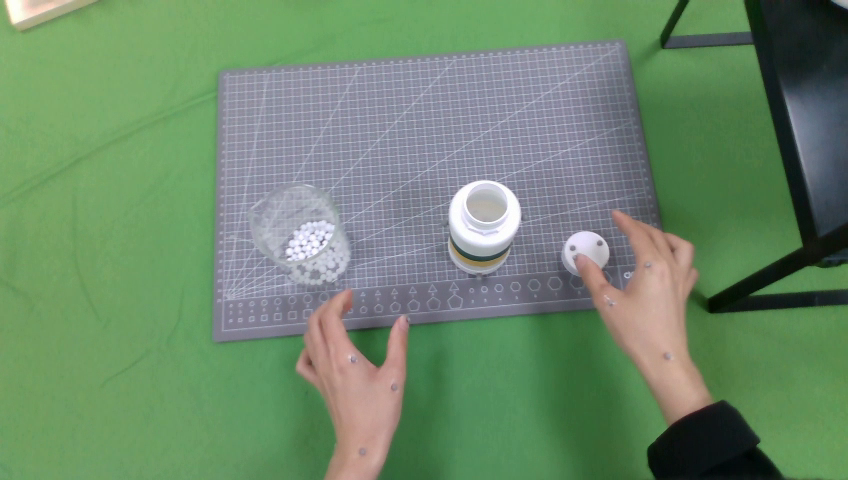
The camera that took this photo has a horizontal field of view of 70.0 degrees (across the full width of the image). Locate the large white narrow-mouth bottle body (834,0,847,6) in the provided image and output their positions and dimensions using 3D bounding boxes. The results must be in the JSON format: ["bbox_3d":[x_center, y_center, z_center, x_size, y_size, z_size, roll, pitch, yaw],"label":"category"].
[{"bbox_3d":[0.344,-0.251,0.395,0.102,0.196,0.101,-1,72,3],"label":"large white narrow-mouth bottle body"}]

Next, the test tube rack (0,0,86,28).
[{"bbox_3d":[-0.374,-0.332,0.672,0.242,0.085,0.066,-25,74,-7],"label":"test tube rack"}]

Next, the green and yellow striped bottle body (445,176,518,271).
[{"bbox_3d":[0.051,-0.016,0.551,0.063,0.120,0.063,0,73,1],"label":"green and yellow striped bottle body"}]

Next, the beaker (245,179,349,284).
[{"bbox_3d":[-0.113,-0.003,0.561,0.084,0.101,0.073,15,73,6],"label":"beaker"}]

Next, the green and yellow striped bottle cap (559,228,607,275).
[{"bbox_3d":[0.157,0.011,0.597,0.045,0.020,0.045,0,70,1],"label":"green and yellow striped bottle cap"}]
